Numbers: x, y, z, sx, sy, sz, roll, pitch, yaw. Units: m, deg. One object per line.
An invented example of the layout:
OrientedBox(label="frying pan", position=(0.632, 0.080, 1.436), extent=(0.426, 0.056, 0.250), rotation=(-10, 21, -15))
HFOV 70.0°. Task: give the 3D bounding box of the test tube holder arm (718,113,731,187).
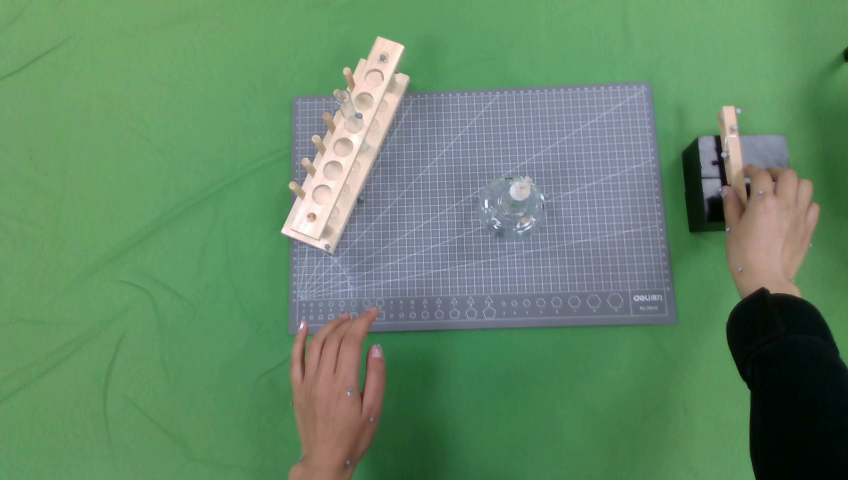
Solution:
OrientedBox(label="test tube holder arm", position=(0.346, -0.103, 0.684), extent=(0.015, 0.010, 0.087), rotation=(-4, 75, 11))

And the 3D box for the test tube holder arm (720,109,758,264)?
OrientedBox(label="test tube holder arm", position=(0.346, -0.061, 0.667), extent=(0.015, 0.013, 0.177), rotation=(-4, 75, 11))

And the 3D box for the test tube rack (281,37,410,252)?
OrientedBox(label="test tube rack", position=(-0.096, -0.114, 0.709), extent=(0.066, 0.085, 0.241), rotation=(22, 80, 7))

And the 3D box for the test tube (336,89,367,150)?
OrientedBox(label="test tube", position=(-0.077, -0.127, 0.660), extent=(0.017, 0.150, 0.017), rotation=(0, 80, 1))

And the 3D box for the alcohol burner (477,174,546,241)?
OrientedBox(label="alcohol burner", position=(0.099, -0.041, 0.674), extent=(0.078, 0.119, 0.077), rotation=(0, 77, 0))
